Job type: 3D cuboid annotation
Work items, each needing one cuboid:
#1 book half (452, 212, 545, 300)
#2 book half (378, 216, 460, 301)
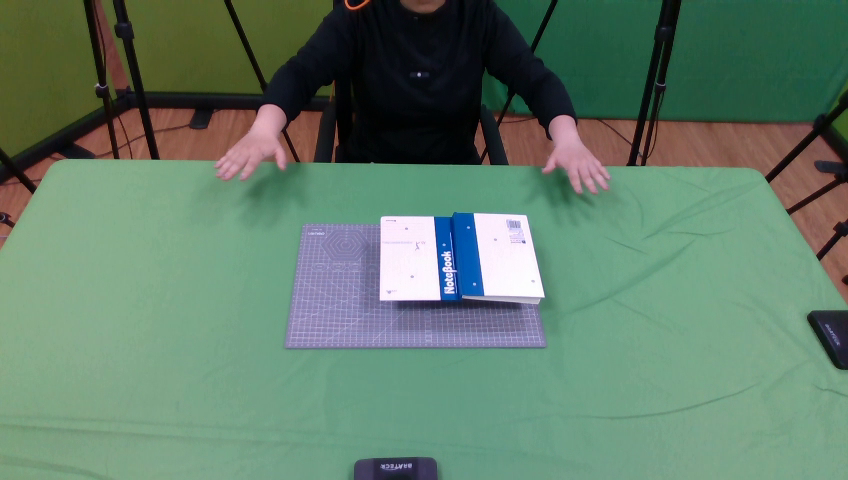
[{"bbox_3d":[0.132,0.026,1.116,0.149,0.016,0.209,2,45,-5],"label":"book half"},{"bbox_3d":[-0.011,0.029,1.110,0.143,0.007,0.208,0,46,-4],"label":"book half"}]
